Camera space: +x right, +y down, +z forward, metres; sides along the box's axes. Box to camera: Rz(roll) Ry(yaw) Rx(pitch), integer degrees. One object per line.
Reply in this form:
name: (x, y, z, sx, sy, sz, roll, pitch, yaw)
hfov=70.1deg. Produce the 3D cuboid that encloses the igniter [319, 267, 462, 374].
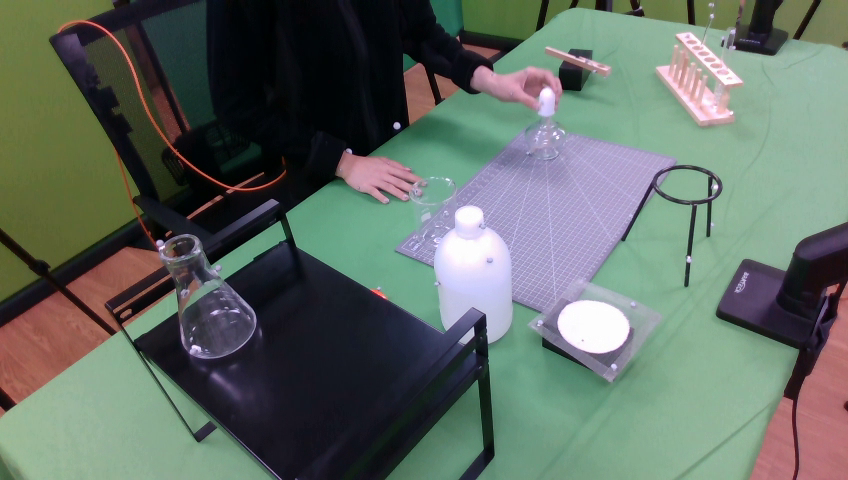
igniter: (-0.059, 0.107, 0.862, 0.274, 0.025, 0.057, 28, 62, 34)

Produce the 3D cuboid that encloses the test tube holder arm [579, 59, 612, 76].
test tube holder arm: (0.363, -0.368, 1.289, 0.010, 0.015, 0.087, -26, 43, -30)

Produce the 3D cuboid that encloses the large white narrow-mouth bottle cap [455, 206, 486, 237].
large white narrow-mouth bottle cap: (0.057, -0.023, 0.734, 0.038, 0.024, 0.037, -4, 40, 4)

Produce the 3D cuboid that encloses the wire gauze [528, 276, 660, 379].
wire gauze: (0.214, 0.103, 0.763, 0.124, 0.011, 0.122, 30, 52, 35)

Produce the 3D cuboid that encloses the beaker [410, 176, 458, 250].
beaker: (0.022, -0.041, 0.964, 0.073, 0.101, 0.084, 28, 51, 35)

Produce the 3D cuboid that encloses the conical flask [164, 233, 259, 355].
conical flask: (-0.216, 0.051, 0.601, 0.075, 0.122, 0.075, -4, 40, 4)

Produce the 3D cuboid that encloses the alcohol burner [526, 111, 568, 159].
alcohol burner: (0.227, -0.210, 1.118, 0.078, 0.119, 0.077, -5, 43, 5)

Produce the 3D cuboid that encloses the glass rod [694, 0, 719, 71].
glass rod: (0.560, -0.401, 1.214, 0.008, 0.200, 0.008, -1, 49, 2)

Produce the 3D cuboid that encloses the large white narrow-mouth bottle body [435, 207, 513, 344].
large white narrow-mouth bottle body: (0.065, 0.041, 0.791, 0.102, 0.195, 0.101, -4, 41, 4)

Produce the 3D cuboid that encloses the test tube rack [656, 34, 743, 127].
test tube rack: (0.553, -0.330, 1.233, 0.067, 0.085, 0.241, -7, 40, 2)

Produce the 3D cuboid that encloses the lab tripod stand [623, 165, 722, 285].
lab tripod stand: (0.365, -0.030, 0.875, 0.148, 0.132, 0.147, -6, 41, 6)

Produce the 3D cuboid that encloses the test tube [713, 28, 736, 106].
test tube: (0.570, -0.325, 1.149, 0.017, 0.151, 0.017, -4, 36, 4)

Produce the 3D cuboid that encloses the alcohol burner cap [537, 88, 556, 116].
alcohol burner cap: (0.221, -0.250, 1.086, 0.034, 0.048, 0.033, -2, 40, 2)

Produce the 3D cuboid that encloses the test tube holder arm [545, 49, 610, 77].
test tube holder arm: (0.330, -0.387, 1.314, 0.013, 0.015, 0.177, -25, 43, -30)
